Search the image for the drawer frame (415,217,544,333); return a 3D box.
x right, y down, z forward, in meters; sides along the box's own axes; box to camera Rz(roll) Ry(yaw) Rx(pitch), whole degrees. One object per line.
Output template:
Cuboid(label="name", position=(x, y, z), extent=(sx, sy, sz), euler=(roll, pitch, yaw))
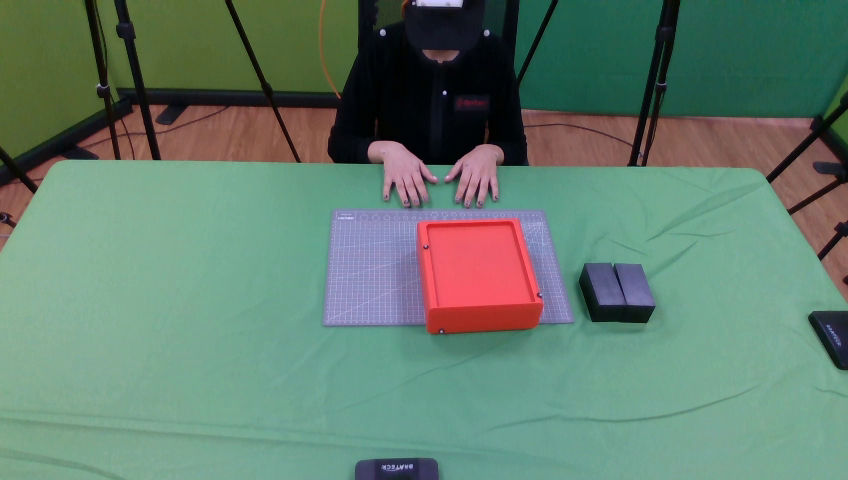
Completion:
Cuboid(label="drawer frame", position=(0.094, 0.058, 1.104), extent=(0.202, 0.083, 0.212), euler=(-2, 47, -7))

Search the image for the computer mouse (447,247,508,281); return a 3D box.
Cuboid(label="computer mouse", position=(0.101, 0.046, 1.135), extent=(0.117, 0.041, 0.062), euler=(4, 43, -9))

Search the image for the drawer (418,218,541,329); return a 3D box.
Cuboid(label="drawer", position=(0.094, 0.057, 1.107), extent=(0.195, 0.073, 0.210), euler=(-1, 47, -6))
